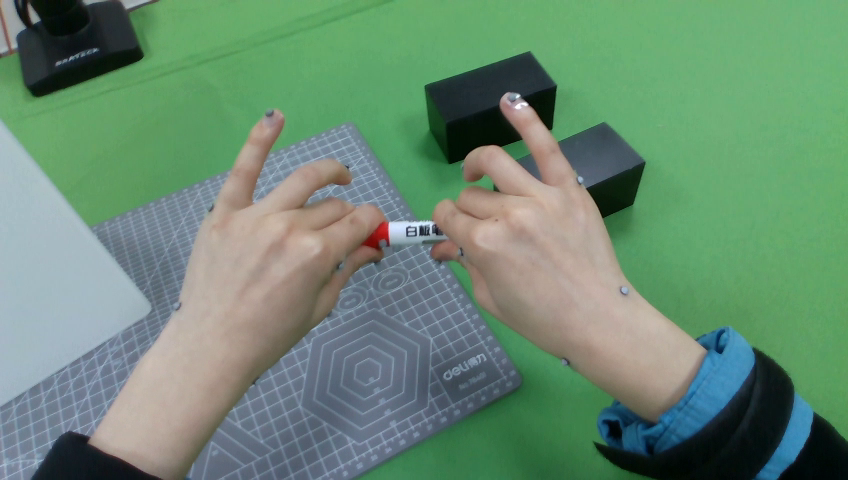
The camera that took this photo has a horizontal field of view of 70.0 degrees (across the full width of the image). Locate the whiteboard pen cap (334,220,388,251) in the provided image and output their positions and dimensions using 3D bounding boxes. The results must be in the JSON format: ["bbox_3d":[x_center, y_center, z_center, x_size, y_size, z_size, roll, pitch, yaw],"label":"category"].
[{"bbox_3d":[-0.037,-0.003,0.363,0.032,0.017,0.017,-5,55,1],"label":"whiteboard pen cap"}]

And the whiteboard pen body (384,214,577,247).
[{"bbox_3d":[0.022,-0.005,0.363,0.141,0.017,0.016,-2,55,-2],"label":"whiteboard pen body"}]

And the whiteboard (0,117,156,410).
[{"bbox_3d":[-0.366,-0.028,0.386,0.217,0.308,0.142,-34,39,-17],"label":"whiteboard"}]
